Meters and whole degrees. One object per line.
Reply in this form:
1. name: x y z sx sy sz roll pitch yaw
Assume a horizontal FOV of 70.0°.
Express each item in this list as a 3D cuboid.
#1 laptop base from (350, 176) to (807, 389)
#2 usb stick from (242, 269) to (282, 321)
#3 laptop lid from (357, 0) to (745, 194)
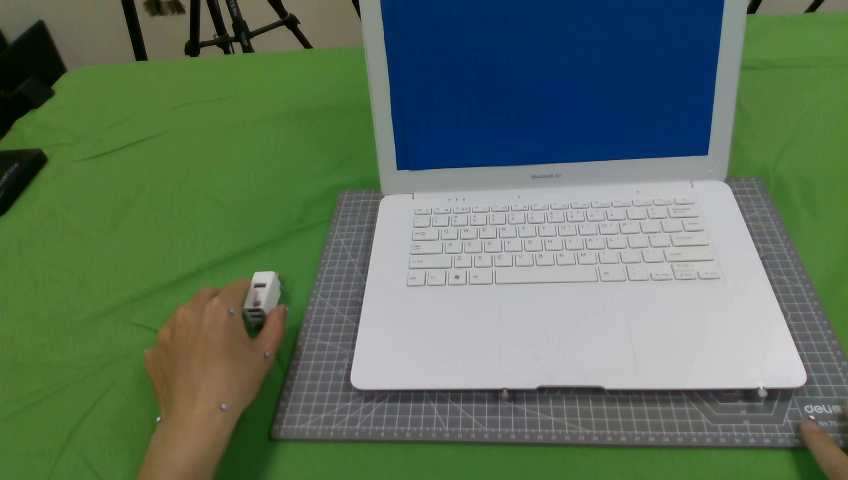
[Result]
1. laptop base: 0.120 0.032 0.552 0.354 0.023 0.233 -2 48 6
2. usb stick: -0.151 0.046 0.573 0.021 0.027 0.058 -4 43 11
3. laptop lid: 0.117 -0.159 0.584 0.356 0.243 0.013 -4 24 7
